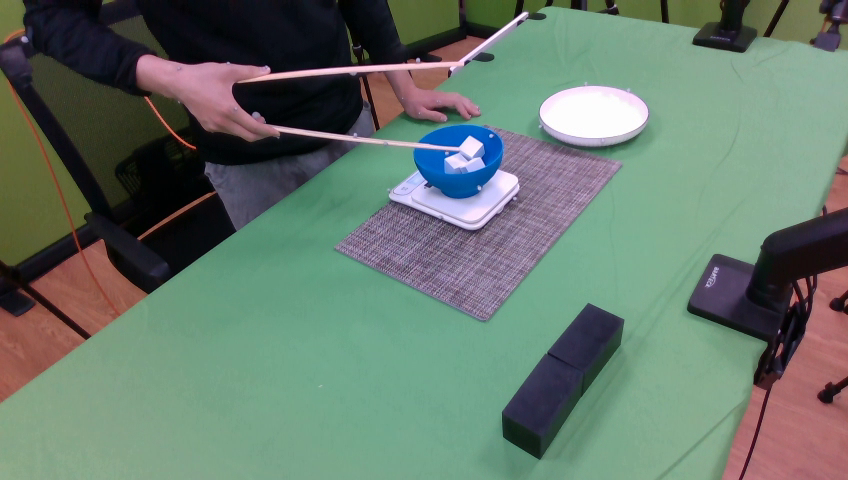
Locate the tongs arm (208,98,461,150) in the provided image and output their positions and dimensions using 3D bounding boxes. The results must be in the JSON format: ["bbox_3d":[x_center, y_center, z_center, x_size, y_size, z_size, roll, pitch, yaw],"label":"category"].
[{"bbox_3d":[-0.134,-0.178,0.927,0.385,0.051,0.026,4,24,0],"label":"tongs arm"}]

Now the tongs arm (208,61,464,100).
[{"bbox_3d":[-0.133,-0.242,0.902,0.387,0.028,0.027,-5,27,4],"label":"tongs arm"}]

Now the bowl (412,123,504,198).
[{"bbox_3d":[0.060,-0.123,1.007,0.151,0.077,0.150,-5,41,5],"label":"bowl"}]

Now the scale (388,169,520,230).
[{"bbox_3d":[0.050,-0.090,1.051,0.199,0.032,0.149,24,49,31],"label":"scale"}]

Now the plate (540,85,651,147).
[{"bbox_3d":[0.333,-0.238,1.185,0.207,0.039,0.206,-4,41,4],"label":"plate"}]
